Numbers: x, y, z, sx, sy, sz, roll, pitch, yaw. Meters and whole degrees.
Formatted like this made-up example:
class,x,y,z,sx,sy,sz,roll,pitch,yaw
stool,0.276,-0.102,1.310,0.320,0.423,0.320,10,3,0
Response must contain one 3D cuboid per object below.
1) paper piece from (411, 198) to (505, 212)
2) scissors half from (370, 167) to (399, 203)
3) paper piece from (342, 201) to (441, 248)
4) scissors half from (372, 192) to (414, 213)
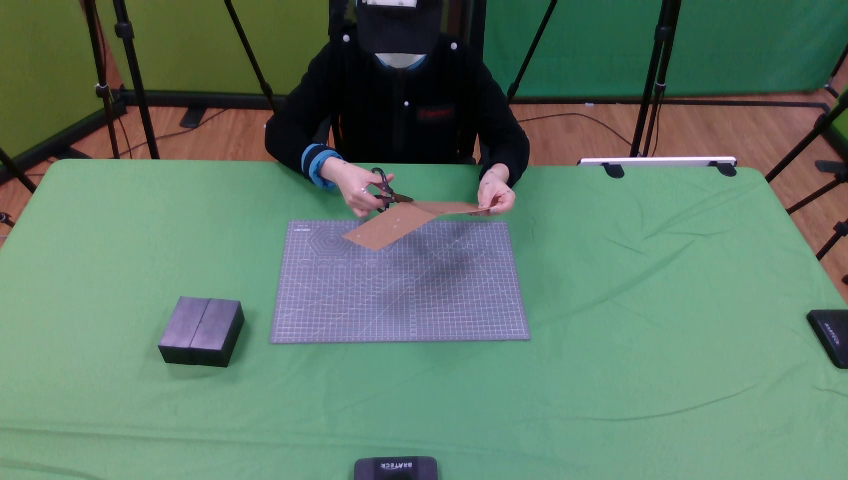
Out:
class,x,y,z,sx,sy,sz,roll,pitch,yaw
paper piece,0.052,-0.063,1.087,0.138,0.008,0.135,-2,15,-32
scissors half,-0.061,-0.094,1.132,0.013,0.040,0.174,-16,39,-25
paper piece,-0.058,-0.030,1.025,0.136,0.004,0.135,-30,25,-22
scissors half,-0.059,-0.072,1.140,0.013,0.040,0.174,-11,5,-27
